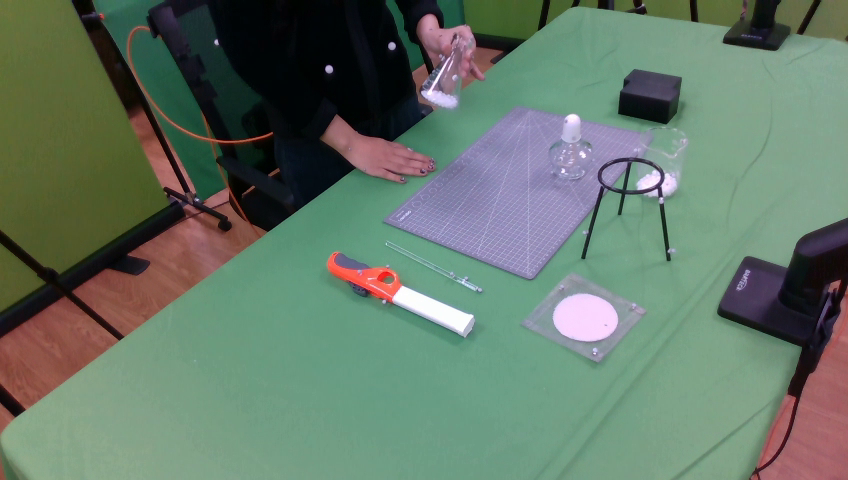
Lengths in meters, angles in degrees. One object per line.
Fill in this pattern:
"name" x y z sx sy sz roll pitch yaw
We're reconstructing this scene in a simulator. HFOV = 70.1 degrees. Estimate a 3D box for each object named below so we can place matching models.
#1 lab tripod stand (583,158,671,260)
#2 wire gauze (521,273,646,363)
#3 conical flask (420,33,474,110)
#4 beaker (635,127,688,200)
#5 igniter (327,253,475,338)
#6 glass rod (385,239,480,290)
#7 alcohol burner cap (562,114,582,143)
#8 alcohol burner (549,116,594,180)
"lab tripod stand" 0.300 -0.046 0.895 0.148 0.132 0.147 -7 38 6
"wire gauze" 0.219 0.105 0.830 0.120 0.011 0.125 28 54 37
"conical flask" 0.046 -0.295 1.052 0.075 0.122 0.075 20 23 -8
"beaker" 0.388 -0.122 0.994 0.074 0.101 0.083 -8 41 2
"igniter" -0.045 0.077 0.898 0.274 0.025 0.057 22 59 32
"glass rod" 0.009 0.037 0.950 0.198 0.008 0.008 26 52 35
"alcohol burner cap" 0.254 -0.192 1.030 0.034 0.048 0.033 -4 50 6
"alcohol burner" 0.258 -0.166 1.055 0.078 0.120 0.077 -6 42 6
